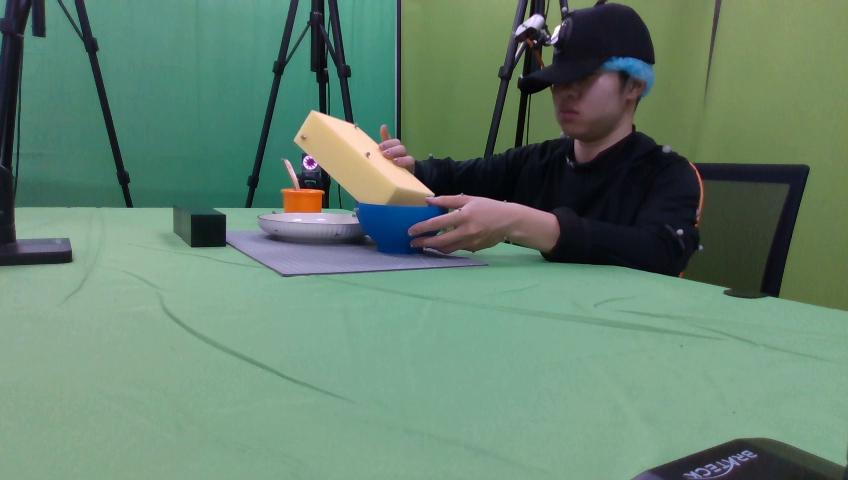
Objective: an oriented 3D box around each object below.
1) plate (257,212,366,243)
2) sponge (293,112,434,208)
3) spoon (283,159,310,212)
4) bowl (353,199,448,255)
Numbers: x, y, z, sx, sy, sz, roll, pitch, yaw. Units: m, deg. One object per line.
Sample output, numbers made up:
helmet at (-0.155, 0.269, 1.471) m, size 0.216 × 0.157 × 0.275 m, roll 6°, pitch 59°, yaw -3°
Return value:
plate at (-0.189, -0.023, 1.072) m, size 0.209 × 0.038 × 0.209 m, roll 3°, pitch 7°, yaw 0°
sponge at (-0.097, -0.116, 0.975) m, size 0.206 × 0.061 × 0.119 m, roll 41°, pitch 18°, yaw 22°
spoon at (-0.279, -0.111, 1.324) m, size 0.042 × 0.193 × 0.021 m, roll 3°, pitch -39°, yaw -35°
bowl at (-0.039, -0.020, 0.953) m, size 0.151 × 0.077 × 0.151 m, roll 4°, pitch 8°, yaw 0°
